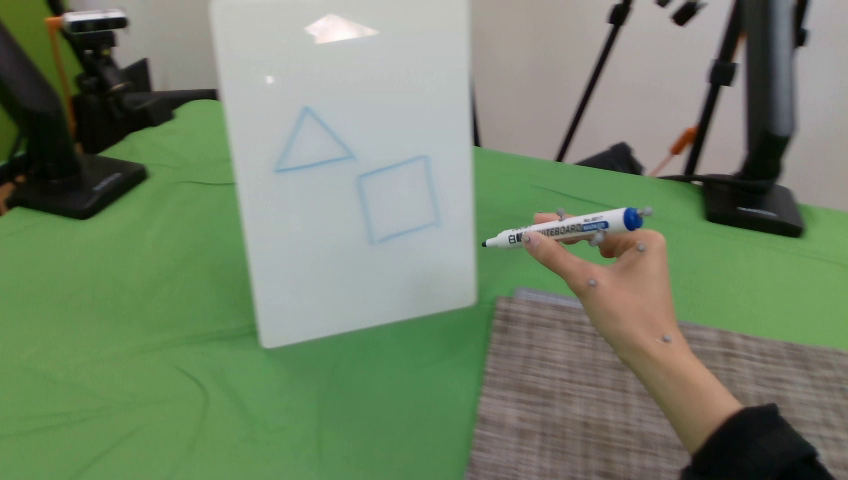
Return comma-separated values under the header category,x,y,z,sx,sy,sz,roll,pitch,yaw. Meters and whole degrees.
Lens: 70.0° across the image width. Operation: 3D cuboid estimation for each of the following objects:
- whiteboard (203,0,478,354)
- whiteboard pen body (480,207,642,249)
category,x,y,z,sx,sy,sz,roll,pitch,yaw
whiteboard,-0.079,-0.076,0.602,0.218,0.307,0.142,-10,18,-18
whiteboard pen body,0.089,-0.005,0.429,0.017,0.017,0.140,-30,12,-38
